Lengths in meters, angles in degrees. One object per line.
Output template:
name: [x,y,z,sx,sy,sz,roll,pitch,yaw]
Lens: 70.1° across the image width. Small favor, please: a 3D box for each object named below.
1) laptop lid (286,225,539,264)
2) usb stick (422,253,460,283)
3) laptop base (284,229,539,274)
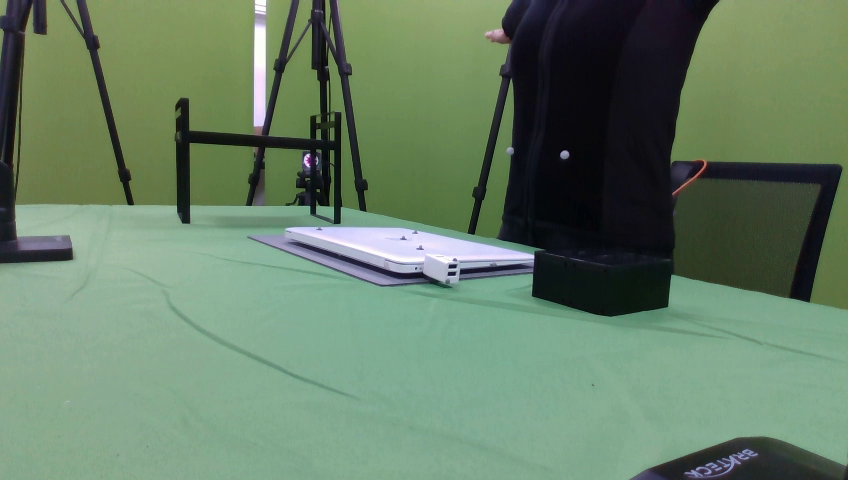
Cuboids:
laptop lid: [-0.032,0.002,0.898,0.243,0.013,0.355,0,8,-34]
usb stick: [0.015,0.031,0.698,0.021,0.027,0.059,-2,9,-34]
laptop base: [-0.034,0.013,0.898,0.237,0.023,0.352,1,7,-36]
